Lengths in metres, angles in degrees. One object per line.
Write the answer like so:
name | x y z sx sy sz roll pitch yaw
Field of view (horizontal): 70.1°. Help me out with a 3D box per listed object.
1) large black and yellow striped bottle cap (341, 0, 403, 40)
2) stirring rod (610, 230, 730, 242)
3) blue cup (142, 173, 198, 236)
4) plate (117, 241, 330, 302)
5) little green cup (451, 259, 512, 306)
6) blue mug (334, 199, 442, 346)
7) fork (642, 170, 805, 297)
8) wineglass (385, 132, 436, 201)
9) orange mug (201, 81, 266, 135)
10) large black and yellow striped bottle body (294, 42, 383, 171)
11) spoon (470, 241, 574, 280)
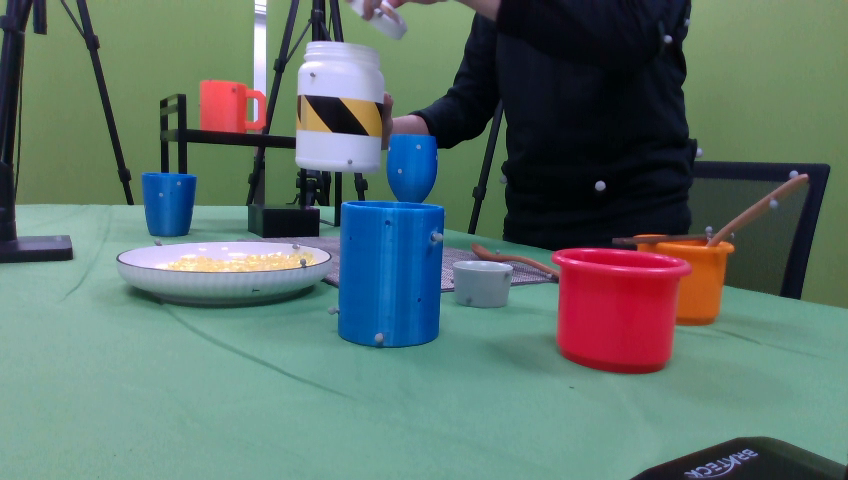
large black and yellow striped bottle cap | -0.078 -0.330 0.859 0.115 0.019 0.115 36 25 -19
stirring rod | 0.241 -0.005 0.582 0.177 0.006 0.014 -3 9 -34
blue cup | -0.425 -0.060 1.014 0.093 0.100 0.092 4 9 0
plate | -0.203 0.031 0.630 0.209 0.038 0.209 3 7 0
little green cup | 0.057 0.043 0.612 0.061 0.038 0.061 3 8 0
blue mug | -0.034 0.020 0.498 0.083 0.106 0.116 0 7 -19
fork | 0.261 0.004 0.545 0.028 0.018 0.207 5 -37 -16
wineglass | -0.020 -0.061 0.838 0.074 0.172 0.073 2 7 0
orange mug | -0.376 -0.260 1.198 0.126 0.101 0.083 -3 8 -6
large black and yellow striped bottle body | -0.130 -0.201 0.929 0.131 0.184 0.130 4 9 0
spoon | 0.124 0.025 0.800 0.042 0.021 0.192 22 -5 -34
